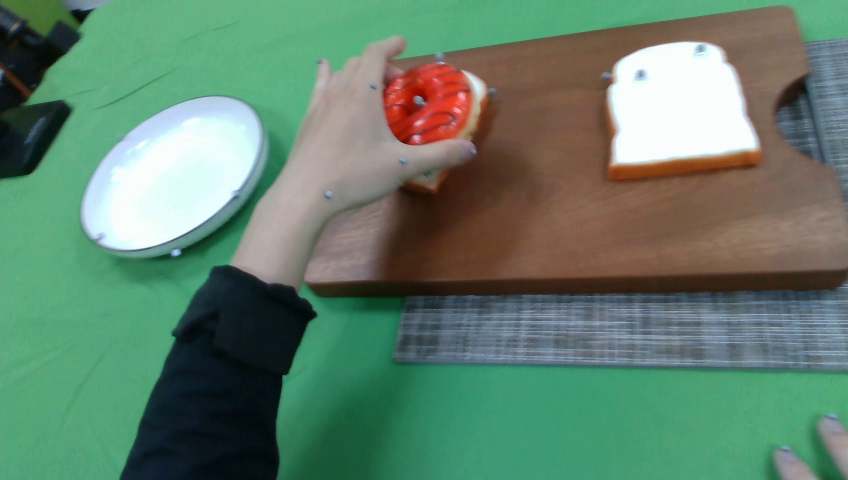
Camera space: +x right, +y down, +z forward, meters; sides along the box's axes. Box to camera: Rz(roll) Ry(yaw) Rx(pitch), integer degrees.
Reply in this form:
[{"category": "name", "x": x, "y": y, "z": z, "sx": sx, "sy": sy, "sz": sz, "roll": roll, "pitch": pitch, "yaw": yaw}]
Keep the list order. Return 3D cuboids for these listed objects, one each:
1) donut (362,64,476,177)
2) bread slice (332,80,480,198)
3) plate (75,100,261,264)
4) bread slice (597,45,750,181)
[{"category": "donut", "x": -0.005, "y": -0.095, "z": 0.477, "sx": 0.099, "sy": 0.049, "sz": 0.098, "roll": -15, "pitch": 57, "yaw": 24}, {"category": "bread slice", "x": -0.011, "y": -0.101, "z": 0.553, "sx": 0.106, "sy": 0.018, "sz": 0.133, "roll": 15, "pitch": 64, "yaw": 27}, {"category": "plate", "x": -0.262, "y": -0.060, "z": 0.637, "sx": 0.209, "sy": 0.038, "sz": 0.207, "roll": -9, "pitch": 54, "yaw": 14}, {"category": "bread slice", "x": 0.191, "y": -0.106, "z": 0.486, "sx": 0.104, "sy": 0.019, "sz": 0.130, "roll": -6, "pitch": 56, "yaw": 14}]
